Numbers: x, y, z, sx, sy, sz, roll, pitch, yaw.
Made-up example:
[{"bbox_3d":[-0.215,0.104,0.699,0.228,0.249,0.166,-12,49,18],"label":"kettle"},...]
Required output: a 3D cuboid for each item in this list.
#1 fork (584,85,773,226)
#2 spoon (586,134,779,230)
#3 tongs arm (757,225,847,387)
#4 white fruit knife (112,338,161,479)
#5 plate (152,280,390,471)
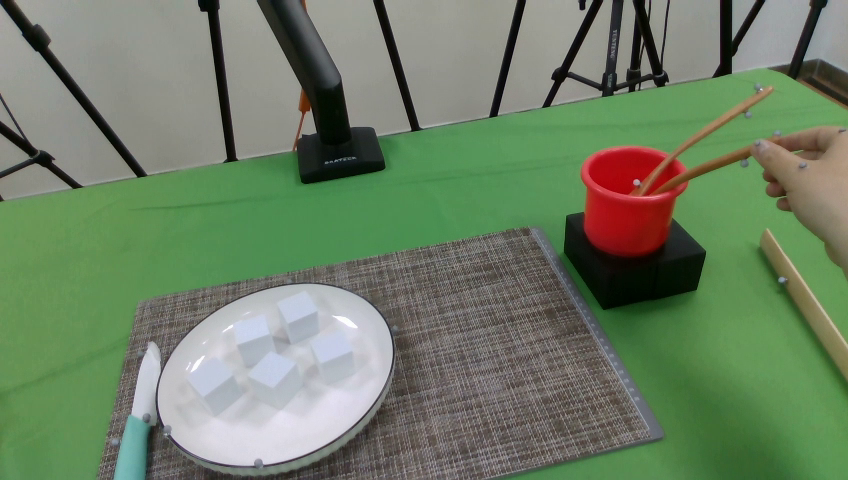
[{"bbox_3d":[0.241,-0.078,0.585,0.207,0.019,0.028,-42,12,18],"label":"fork"},{"bbox_3d":[0.223,-0.048,0.548,0.041,0.194,0.021,-37,90,-39],"label":"spoon"},{"bbox_3d":[0.371,0.112,0.511,0.028,0.028,0.383,-2,39,1],"label":"tongs arm"},{"bbox_3d":[-0.249,0.158,0.530,0.027,0.016,0.205,12,30,-25],"label":"white fruit knife"},{"bbox_3d":[-0.132,0.118,0.547,0.207,0.039,0.205,-3,38,3],"label":"plate"}]
